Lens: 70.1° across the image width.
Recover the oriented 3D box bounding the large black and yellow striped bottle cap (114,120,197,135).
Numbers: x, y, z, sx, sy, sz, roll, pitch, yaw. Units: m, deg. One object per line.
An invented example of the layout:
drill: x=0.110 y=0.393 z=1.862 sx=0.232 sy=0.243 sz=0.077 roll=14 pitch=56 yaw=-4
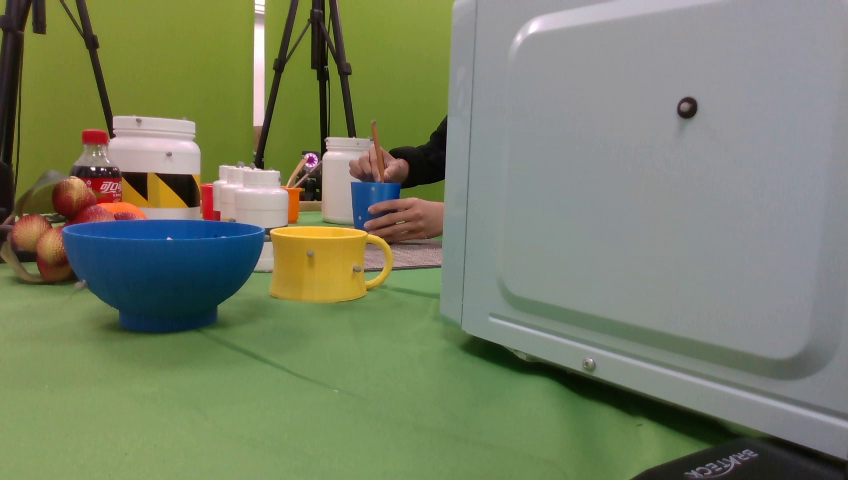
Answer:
large black and yellow striped bottle cap: x=-0.407 y=-0.171 z=0.920 sx=0.115 sy=0.019 sz=0.115 roll=2 pitch=9 yaw=0

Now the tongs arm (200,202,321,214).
tongs arm: x=-0.378 y=-0.079 z=1.440 sx=0.387 sy=0.026 sz=0.050 roll=-4 pitch=8 yaw=-44

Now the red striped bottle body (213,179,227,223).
red striped bottle body: x=-0.284 y=-0.048 z=0.910 sx=0.063 sy=0.119 sz=0.063 roll=3 pitch=12 yaw=0

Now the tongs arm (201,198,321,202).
tongs arm: x=-0.433 y=-0.090 z=1.508 sx=0.390 sy=0.028 sz=0.028 roll=-1 pitch=2 yaw=-29

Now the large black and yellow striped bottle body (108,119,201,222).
large black and yellow striped bottle body: x=-0.412 y=-0.088 z=0.930 sx=0.131 sy=0.184 sz=0.130 roll=3 pitch=7 yaw=0

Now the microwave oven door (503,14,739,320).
microwave oven door: x=0.218 y=-0.065 z=0.600 sx=0.358 sy=0.243 sz=0.039 roll=-4 pitch=10 yaw=-41

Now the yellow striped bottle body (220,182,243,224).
yellow striped bottle body: x=-0.246 y=-0.036 z=0.825 sx=0.063 sy=0.120 sz=0.063 roll=3 pitch=8 yaw=0

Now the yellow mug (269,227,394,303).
yellow mug: x=-0.094 y=0.023 z=0.629 sx=0.131 sy=0.064 sz=0.099 roll=0 pitch=7 yaw=-22

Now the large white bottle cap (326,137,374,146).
large white bottle cap: x=-0.158 y=-0.214 z=1.329 sx=0.115 sy=0.018 sz=0.115 roll=2 pitch=8 yaw=0

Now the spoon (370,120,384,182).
spoon: x=-0.075 y=-0.104 z=1.016 sx=0.022 sy=0.193 sz=0.041 roll=-4 pitch=1 yaw=-8

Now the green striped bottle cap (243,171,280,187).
green striped bottle cap: x=-0.198 y=-0.074 z=0.736 sx=0.044 sy=0.020 sz=0.044 roll=1 pitch=7 yaw=0

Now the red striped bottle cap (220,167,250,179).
red striped bottle cap: x=-0.281 y=-0.100 z=0.901 sx=0.044 sy=0.017 sz=0.044 roll=-1 pitch=4 yaw=0

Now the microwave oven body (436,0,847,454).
microwave oven body: x=0.279 y=-0.040 z=0.465 sx=0.444 sy=0.260 sz=0.324 roll=-3 pitch=9 yaw=-41

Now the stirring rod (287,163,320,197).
stirring rod: x=-0.283 y=-0.107 z=1.298 sx=0.014 sy=0.006 sz=0.176 roll=10 pitch=52 yaw=51

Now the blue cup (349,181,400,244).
blue cup: x=-0.082 y=-0.047 z=1.014 sx=0.093 sy=0.100 sz=0.092 roll=0 pitch=8 yaw=0

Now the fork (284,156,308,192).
fork: x=-0.295 y=-0.116 z=1.323 sx=0.028 sy=0.019 sz=0.207 roll=1 pitch=50 yaw=21

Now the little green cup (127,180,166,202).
little green cup: x=-0.485 y=-0.086 z=1.061 sx=0.061 sy=0.038 sz=0.061 roll=1 pitch=7 yaw=0

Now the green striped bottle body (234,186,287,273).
green striped bottle body: x=-0.201 y=-0.023 z=0.743 sx=0.063 sy=0.119 sz=0.063 roll=2 pitch=7 yaw=0

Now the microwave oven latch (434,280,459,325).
microwave oven latch: x=0.044 y=0.045 z=0.470 sx=0.079 sy=0.029 sz=0.030 roll=-2 pitch=8 yaw=-39

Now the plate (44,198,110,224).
plate: x=-0.617 y=-0.056 z=1.179 sx=0.209 sy=0.038 sz=0.209 roll=3 pitch=7 yaw=0

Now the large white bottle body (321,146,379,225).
large white bottle body: x=-0.162 y=-0.131 z=1.340 sx=0.131 sy=0.184 sz=0.130 roll=2 pitch=8 yaw=0

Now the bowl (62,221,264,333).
bowl: x=-0.209 y=0.029 z=0.496 sx=0.151 sy=0.077 sz=0.151 roll=2 pitch=6 yaw=0

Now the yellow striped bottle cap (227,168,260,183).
yellow striped bottle cap: x=-0.243 y=-0.087 z=0.818 sx=0.044 sy=0.018 sz=0.044 roll=3 pitch=6 yaw=0
